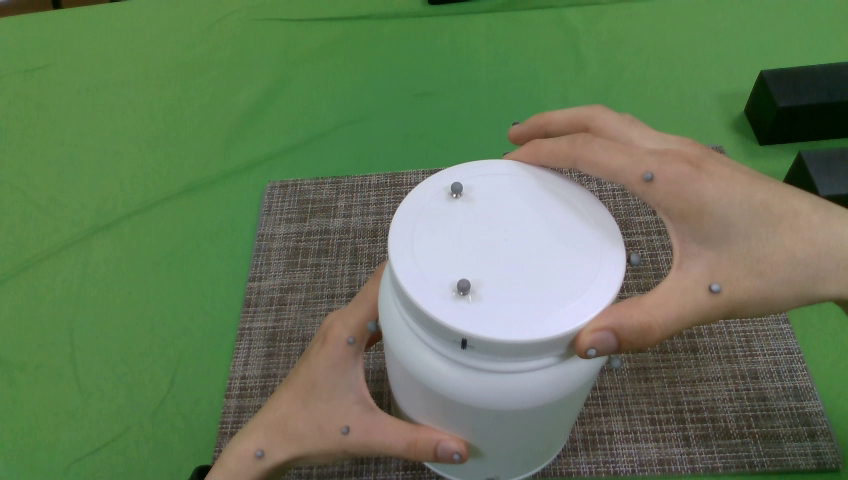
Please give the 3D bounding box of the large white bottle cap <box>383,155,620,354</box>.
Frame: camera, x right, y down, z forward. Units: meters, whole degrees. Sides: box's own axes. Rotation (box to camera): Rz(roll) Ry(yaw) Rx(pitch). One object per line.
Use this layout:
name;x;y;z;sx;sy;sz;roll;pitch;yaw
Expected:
large white bottle cap;0.037;0.002;0.297;0.115;0.018;0.113;2;50;-2

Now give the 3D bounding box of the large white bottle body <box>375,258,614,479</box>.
large white bottle body;0.038;0.056;0.368;0.130;0.186;0.129;0;53;0
